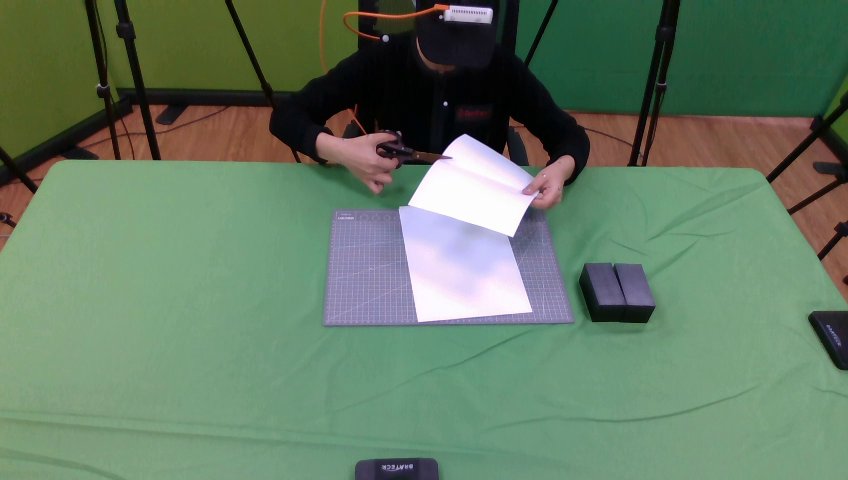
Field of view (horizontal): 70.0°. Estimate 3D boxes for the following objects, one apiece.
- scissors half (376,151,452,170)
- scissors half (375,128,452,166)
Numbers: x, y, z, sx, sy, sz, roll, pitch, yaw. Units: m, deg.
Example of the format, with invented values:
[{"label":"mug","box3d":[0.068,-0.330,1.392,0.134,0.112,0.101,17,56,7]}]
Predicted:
[{"label":"scissors half","box3d":[-0.022,-0.167,1.248,0.175,0.040,0.013,0,28,28]},{"label":"scissors half","box3d":[-0.022,-0.187,1.236,0.175,0.040,0.013,26,42,10]}]
